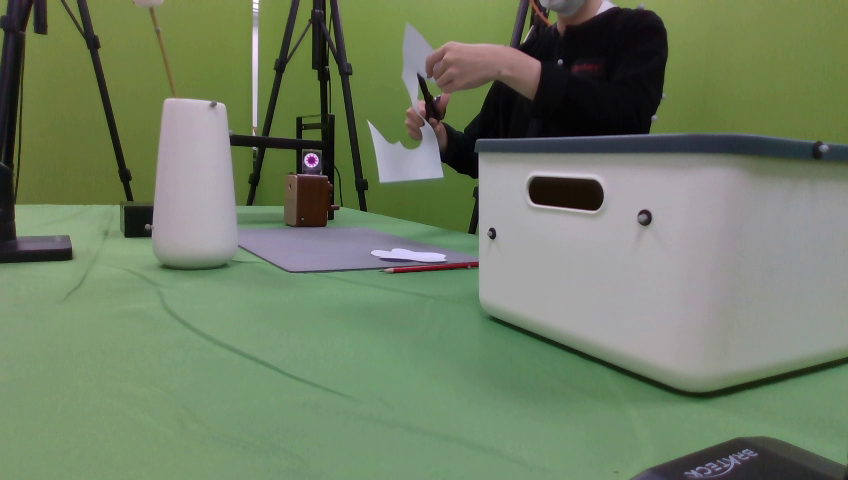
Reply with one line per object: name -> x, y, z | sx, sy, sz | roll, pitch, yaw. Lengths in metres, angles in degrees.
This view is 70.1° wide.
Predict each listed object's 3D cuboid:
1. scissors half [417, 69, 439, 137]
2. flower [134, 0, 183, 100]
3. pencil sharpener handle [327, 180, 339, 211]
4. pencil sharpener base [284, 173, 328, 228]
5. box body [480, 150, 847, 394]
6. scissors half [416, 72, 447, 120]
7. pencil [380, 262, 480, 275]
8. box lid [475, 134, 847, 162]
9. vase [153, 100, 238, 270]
scissors half -> 0.004, -0.245, 1.092 | 0.012, 0.040, 0.175 | 24, -24, 22
flower -> -0.282, -0.147, 0.713 | 0.038, 0.362, 0.044 | -23, 24, -31
pencil sharpener handle -> -0.194, -0.095, 1.256 | 0.031, 0.067, 0.036 | -2, -5, -36
pencil sharpener base -> -0.239, -0.081, 1.231 | 0.077, 0.107, 0.061 | -2, 9, -36
box body -> 0.254, 0.002, 0.539 | 0.366, 0.160, 0.253 | -2, 9, -31
scissors half -> 0.013, -0.263, 1.097 | 0.013, 0.040, 0.176 | 19, -4, 20
pencil -> 0.030, 0.036, 0.794 | 0.195, 0.012, 0.012 | -3, 9, -30
box lid -> 0.256, -0.073, 0.528 | 0.373, 0.015, 0.262 | -2, 8, -31
vase -> -0.278, -0.066, 0.736 | 0.098, 0.200, 0.098 | 2, 9, 0
